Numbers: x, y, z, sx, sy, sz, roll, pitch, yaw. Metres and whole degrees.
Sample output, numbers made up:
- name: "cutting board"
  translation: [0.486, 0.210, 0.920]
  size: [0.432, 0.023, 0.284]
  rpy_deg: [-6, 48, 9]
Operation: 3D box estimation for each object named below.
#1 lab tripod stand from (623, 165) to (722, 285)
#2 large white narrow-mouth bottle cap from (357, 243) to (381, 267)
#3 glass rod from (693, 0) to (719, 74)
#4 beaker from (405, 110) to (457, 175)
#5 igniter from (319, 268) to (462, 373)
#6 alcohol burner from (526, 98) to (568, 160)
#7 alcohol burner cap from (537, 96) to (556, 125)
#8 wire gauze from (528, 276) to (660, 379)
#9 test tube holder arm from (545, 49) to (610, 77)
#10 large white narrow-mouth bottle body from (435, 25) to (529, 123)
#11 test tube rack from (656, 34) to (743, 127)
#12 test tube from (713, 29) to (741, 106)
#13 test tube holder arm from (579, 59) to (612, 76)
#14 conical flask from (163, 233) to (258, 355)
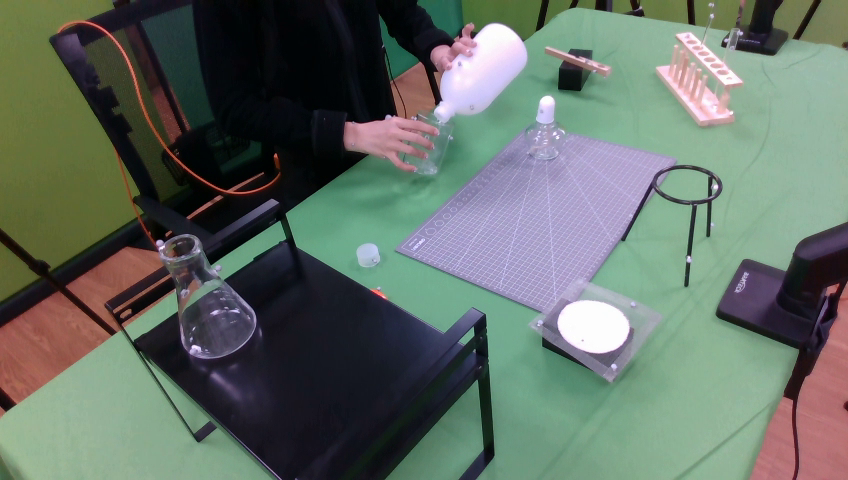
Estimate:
- name: "lab tripod stand"
  translation: [0.365, -0.030, 0.875]
  size: [0.148, 0.132, 0.147]
  rpy_deg: [-6, 41, 6]
- name: "large white narrow-mouth bottle cap"
  translation: [-0.088, 0.023, 0.972]
  size: [0.038, 0.024, 0.037]
  rpy_deg: [-4, 41, 4]
- name: "glass rod"
  translation: [0.561, -0.401, 1.214]
  size: [0.008, 0.200, 0.008]
  rpy_deg: [-1, 48, 2]
- name: "beaker"
  translation: [0.010, -0.176, 1.095]
  size: [0.074, 0.100, 0.084]
  rpy_deg: [20, 22, 1]
- name: "igniter"
  translation: [-0.059, 0.107, 0.862]
  size: [0.274, 0.025, 0.057]
  rpy_deg: [28, 62, 34]
- name: "alcohol burner"
  translation: [0.228, -0.210, 1.118]
  size: [0.078, 0.119, 0.077]
  rpy_deg: [-5, 43, 5]
- name: "alcohol burner cap"
  translation: [0.223, -0.237, 1.095]
  size: [0.034, 0.048, 0.033]
  rpy_deg: [-1, 42, 1]
- name: "wire gauze"
  translation: [0.214, 0.103, 0.763]
  size: [0.124, 0.011, 0.122]
  rpy_deg: [30, 52, 35]
- name: "test tube holder arm"
  translation: [0.331, -0.387, 1.314]
  size: [0.013, 0.015, 0.177]
  rpy_deg: [-26, 43, -29]
- name: "large white narrow-mouth bottle body"
  translation: [0.093, -0.288, 1.090]
  size: [0.195, 0.102, 0.101]
  rpy_deg: [-47, 50, -10]
- name: "test tube rack"
  translation: [0.553, -0.331, 1.233]
  size: [0.067, 0.085, 0.241]
  rpy_deg: [-7, 40, 2]
- name: "test tube"
  translation: [0.572, -0.324, 1.146]
  size: [0.017, 0.151, 0.017]
  rpy_deg: [-3, 39, 3]
- name: "test tube holder arm"
  translation: [0.363, -0.368, 1.289]
  size: [0.010, 0.015, 0.087]
  rpy_deg: [-26, 43, -30]
- name: "conical flask"
  translation: [-0.217, 0.051, 0.601]
  size: [0.075, 0.122, 0.075]
  rpy_deg: [-4, 40, 4]
